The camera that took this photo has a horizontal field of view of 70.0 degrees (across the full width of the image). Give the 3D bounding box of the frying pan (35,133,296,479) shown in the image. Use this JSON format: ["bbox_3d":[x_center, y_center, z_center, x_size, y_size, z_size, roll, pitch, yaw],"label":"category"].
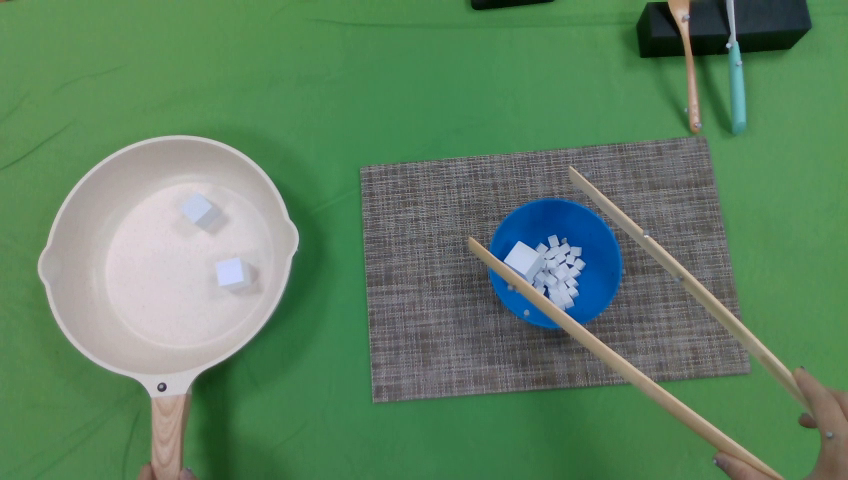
[{"bbox_3d":[-0.291,0.113,0.698,0.307,0.103,0.484,-6,69,1],"label":"frying pan"}]

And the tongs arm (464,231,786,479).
[{"bbox_3d":[0.173,0.099,0.530,0.028,0.028,0.384,-39,57,-20],"label":"tongs arm"}]

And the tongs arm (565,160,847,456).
[{"bbox_3d":[0.233,0.056,0.545,0.051,0.027,0.380,-31,56,-11],"label":"tongs arm"}]

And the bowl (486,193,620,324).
[{"bbox_3d":[0.145,0.028,0.713,0.151,0.077,0.150,0,77,2],"label":"bowl"}]

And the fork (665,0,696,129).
[{"bbox_3d":[0.327,-0.244,0.767,0.028,0.018,0.208,-12,98,-5],"label":"fork"}]

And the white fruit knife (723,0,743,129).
[{"bbox_3d":[0.386,-0.246,0.765,0.016,0.027,0.207,-6,94,7],"label":"white fruit knife"}]
